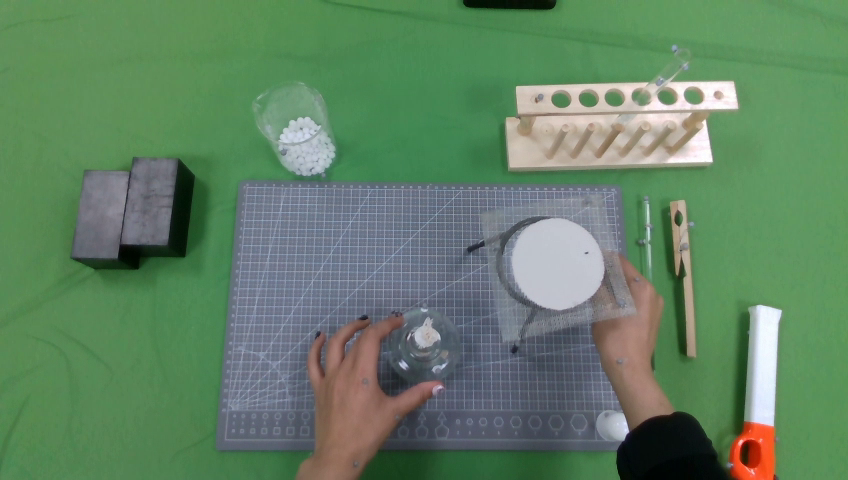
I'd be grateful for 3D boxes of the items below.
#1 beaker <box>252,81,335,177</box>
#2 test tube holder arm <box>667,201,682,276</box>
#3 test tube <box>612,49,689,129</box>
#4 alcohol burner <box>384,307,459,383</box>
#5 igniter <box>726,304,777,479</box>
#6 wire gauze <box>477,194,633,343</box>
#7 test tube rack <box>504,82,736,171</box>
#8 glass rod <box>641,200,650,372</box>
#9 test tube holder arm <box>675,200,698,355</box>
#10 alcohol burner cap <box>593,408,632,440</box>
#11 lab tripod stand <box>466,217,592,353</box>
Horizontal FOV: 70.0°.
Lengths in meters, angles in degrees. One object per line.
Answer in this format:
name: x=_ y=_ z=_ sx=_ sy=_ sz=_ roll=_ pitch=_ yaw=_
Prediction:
beaker: x=-0.142 y=-0.120 z=0.678 sx=0.084 sy=0.101 sz=0.073 roll=18 pitch=74 yaw=4
test tube holder arm: x=0.292 y=-0.002 z=0.702 sx=0.010 sy=0.015 sz=0.087 roll=-10 pitch=73 yaw=32
test tube: x=0.240 y=-0.158 z=0.655 sx=0.017 sy=0.150 sz=0.017 roll=2 pitch=74 yaw=-7
alcohol burner: x=-0.002 y=0.104 z=0.612 sx=0.078 sy=0.120 sz=0.077 roll=0 pitch=72 yaw=0
igniter: x=0.350 y=0.205 z=0.643 sx=0.057 sy=0.025 sz=0.275 roll=14 pitch=75 yaw=-8
wire gauze: x=0.118 y=0.022 z=0.557 sx=0.121 sy=0.011 sz=0.124 roll=-10 pitch=75 yaw=-3
test tube rack: x=0.220 y=-0.129 z=0.698 sx=0.242 sy=0.085 sz=0.066 roll=-2 pitch=74 yaw=-2
glass rod: x=0.253 y=0.050 z=0.691 sx=0.008 sy=0.008 sz=0.199 roll=4 pitch=78 yaw=-1
test tube holder arm: x=0.297 y=0.041 z=0.687 sx=0.013 sy=0.015 sz=0.177 roll=-10 pitch=72 yaw=32
alcohol burner cap: x=0.199 y=0.191 z=0.631 sx=0.034 sy=0.048 sz=0.033 roll=0 pitch=74 yaw=-1
lab tripod stand: x=0.106 y=0.037 z=0.622 sx=0.148 sy=0.132 sz=0.147 roll=0 pitch=75 yaw=1
